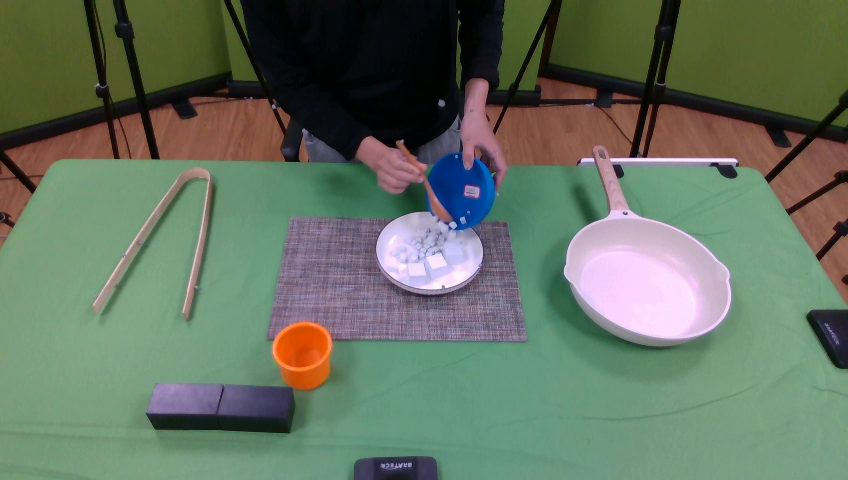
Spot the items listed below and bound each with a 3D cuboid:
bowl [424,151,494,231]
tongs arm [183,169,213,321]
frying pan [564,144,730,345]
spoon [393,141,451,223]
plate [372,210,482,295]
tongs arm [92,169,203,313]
[{"bbox_3d":[0.082,-0.094,1.171,0.150,0.151,0.077,41,27,30],"label":"bowl"},{"bbox_3d":[-0.436,-0.005,1.166,0.028,0.028,0.385,-5,46,-6],"label":"tongs arm"},{"bbox_3d":[0.396,-0.008,1.179,0.307,0.103,0.484,0,55,-5],"label":"frying pan"},{"bbox_3d":[-0.004,-0.104,1.113,0.021,0.194,0.041,-42,27,-21],"label":"spoon"},{"bbox_3d":[0.005,0.028,1.155,0.208,0.039,0.206,2,46,-2],"label":"plate"},{"bbox_3d":[-0.517,-0.012,1.160,0.051,0.026,0.382,7,45,1],"label":"tongs arm"}]
